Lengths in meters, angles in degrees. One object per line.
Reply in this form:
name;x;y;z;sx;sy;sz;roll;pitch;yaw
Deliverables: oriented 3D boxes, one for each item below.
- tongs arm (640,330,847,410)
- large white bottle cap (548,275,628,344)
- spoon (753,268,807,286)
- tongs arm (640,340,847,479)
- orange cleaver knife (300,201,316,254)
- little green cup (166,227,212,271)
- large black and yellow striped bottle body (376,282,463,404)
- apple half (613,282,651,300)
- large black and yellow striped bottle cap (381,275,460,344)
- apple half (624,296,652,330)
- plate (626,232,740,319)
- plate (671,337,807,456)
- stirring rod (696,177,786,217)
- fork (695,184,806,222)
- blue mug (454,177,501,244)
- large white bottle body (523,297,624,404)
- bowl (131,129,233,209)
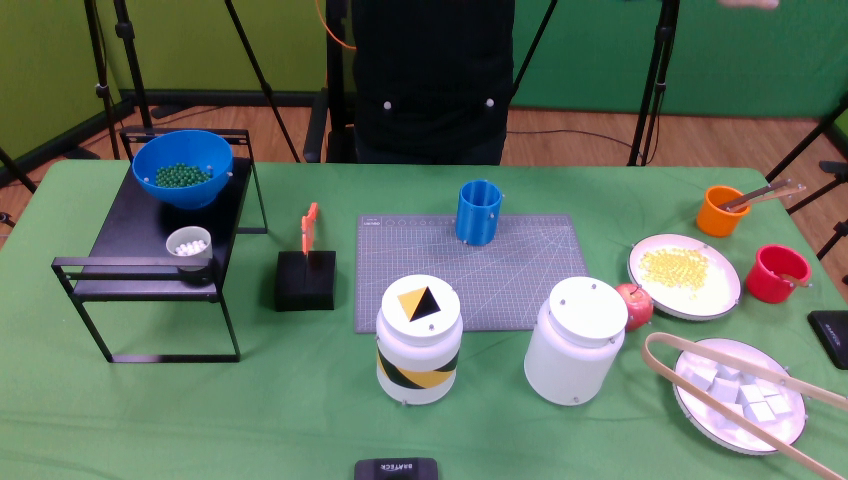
tongs arm;0.543;0.225;0.969;0.384;0.026;0.050;22;52;13
large white bottle cap;0.240;0.100;0.890;0.115;0.018;0.114;3;47;-3
spoon;0.647;0.065;1.100;0.041;0.021;0.194;15;3;10
tongs arm;0.500;0.277;0.920;0.386;0.028;0.028;34;59;22
orange cleaver knife;-0.221;-0.027;1.160;0.012;0.077;0.210;-1;15;-4
little green cup;-0.344;0.014;0.895;0.061;0.039;0.061;3;46;-3
large black and yellow striped bottle body;-0.010;0.155;0.937;0.131;0.185;0.130;2;47;-2
apple half;0.356;0.109;1.086;0.081;0.075;0.053;-14;44;-12
large black and yellow striped bottle cap;-0.005;0.098;0.875;0.115;0.019;0.114;2;45;-2
apple half;0.368;0.135;1.060;0.081;0.081;0.032;-11;43;-15
plate;0.488;0.071;1.157;0.209;0.038;0.208;3;46;-3
plate;0.503;0.254;0.984;0.208;0.039;0.206;2;46;-2
stirring rod;0.648;-0.087;1.244;0.176;0.006;0.014;-25;50;29
fork;0.658;-0.074;1.229;0.207;0.019;0.028;-24;33;36
blue mug;0.106;-0.067;1.208;0.082;0.106;0.116;6;46;1
large white bottle body;0.235;0.159;0.952;0.131;0.185;0.130;2;47;-2
bowl;-0.381;-0.103;0.978;0.151;0.077;0.150;2;46;-2
